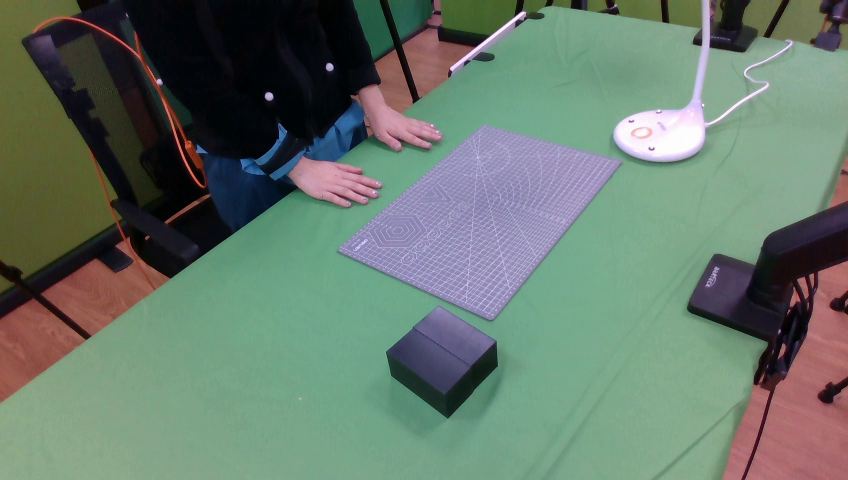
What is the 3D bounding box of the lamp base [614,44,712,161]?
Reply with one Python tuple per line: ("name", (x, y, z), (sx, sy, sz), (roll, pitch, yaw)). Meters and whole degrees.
("lamp base", (0.441, -0.257, 1.081), (0.180, 0.181, 0.159), (-15, 41, -12))
